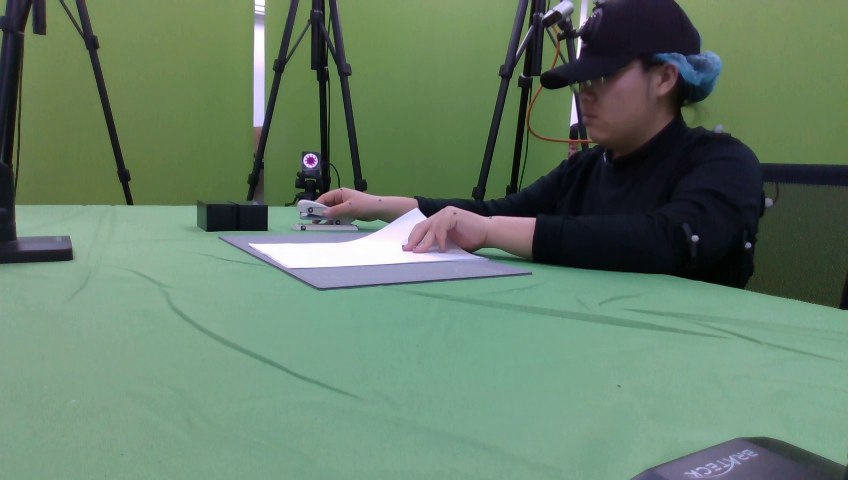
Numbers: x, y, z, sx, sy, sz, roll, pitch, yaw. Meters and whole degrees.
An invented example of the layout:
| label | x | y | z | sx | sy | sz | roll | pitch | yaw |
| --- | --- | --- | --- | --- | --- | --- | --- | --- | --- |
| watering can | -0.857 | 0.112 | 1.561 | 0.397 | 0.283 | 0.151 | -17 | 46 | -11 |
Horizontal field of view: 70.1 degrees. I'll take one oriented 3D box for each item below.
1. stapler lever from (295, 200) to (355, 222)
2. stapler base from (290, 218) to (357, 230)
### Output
| label | x | y | z | sx | sy | sz | roll | pitch | yaw |
| --- | --- | --- | --- | --- | --- | --- | --- | --- | --- |
| stapler lever | -0.196 | -0.057 | 1.200 | 0.118 | 0.040 | 0.026 | 1 | 7 | -24 |
| stapler base | -0.199 | -0.032 | 1.201 | 0.131 | 0.024 | 0.041 | 1 | 7 | -24 |
